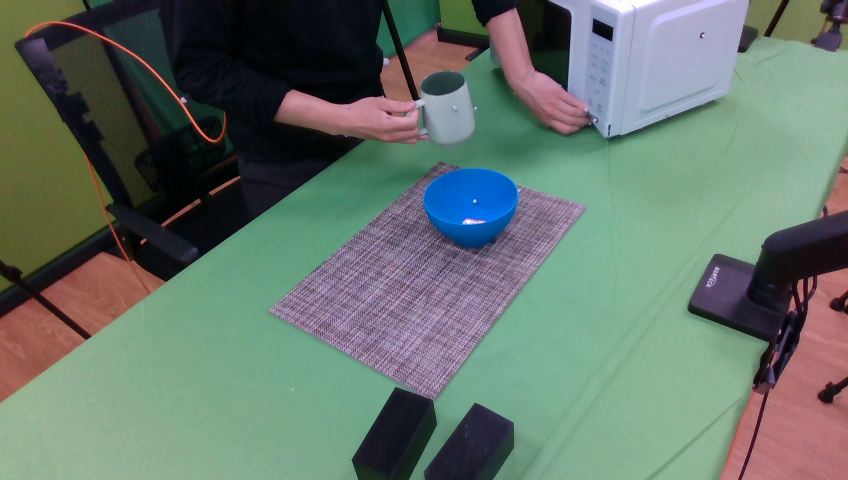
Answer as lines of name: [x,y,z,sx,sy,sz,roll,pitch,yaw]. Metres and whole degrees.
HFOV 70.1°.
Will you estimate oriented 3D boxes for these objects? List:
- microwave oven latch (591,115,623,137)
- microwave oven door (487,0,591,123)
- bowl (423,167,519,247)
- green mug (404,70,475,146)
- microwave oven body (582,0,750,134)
microwave oven latch: [0.343,-0.223,1.141,0.030,0.029,0.078,-13,40,-5]
microwave oven door: [0.231,-0.419,1.231,0.039,0.245,0.352,-21,42,-16]
bowl: [0.076,-0.042,0.959,0.151,0.077,0.150,-3,41,3]
green mug: [0.024,-0.219,1.038,0.125,0.105,0.091,-25,47,-11]
microwave oven body: [0.382,-0.445,1.246,0.327,0.261,0.437,-22,42,-16]
